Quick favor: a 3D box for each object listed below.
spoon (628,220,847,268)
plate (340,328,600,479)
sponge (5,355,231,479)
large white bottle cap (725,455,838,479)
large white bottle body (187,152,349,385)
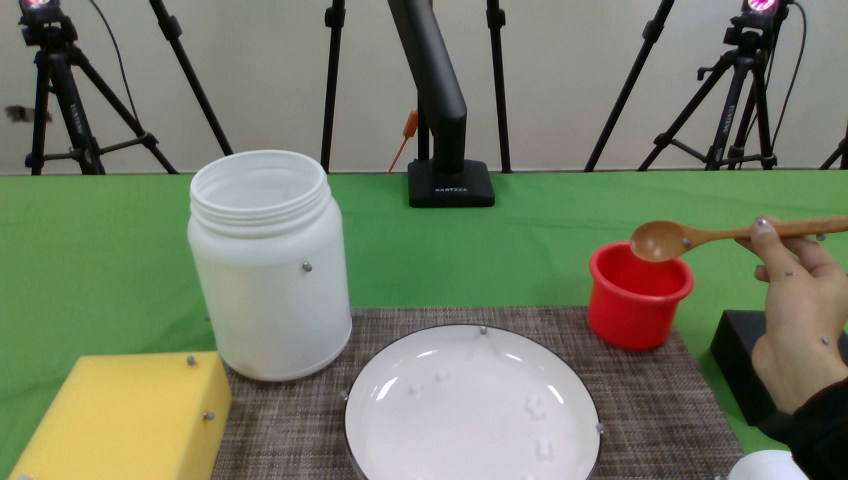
[{"bbox_3d":[0.263,0.000,0.522,0.022,0.041,0.193,14,-13,-32],"label":"spoon"},{"bbox_3d":[0.036,0.156,0.502,0.209,0.038,0.207,1,34,-1],"label":"plate"},{"bbox_3d":[-0.227,0.178,0.441,0.118,0.061,0.205,-2,34,-2],"label":"sponge"},{"bbox_3d":[0.280,0.212,0.448,0.115,0.018,0.114,3,34,-2],"label":"large white bottle cap"},{"bbox_3d":[-0.139,0.025,0.555,0.130,0.186,0.129,1,34,0],"label":"large white bottle body"}]
